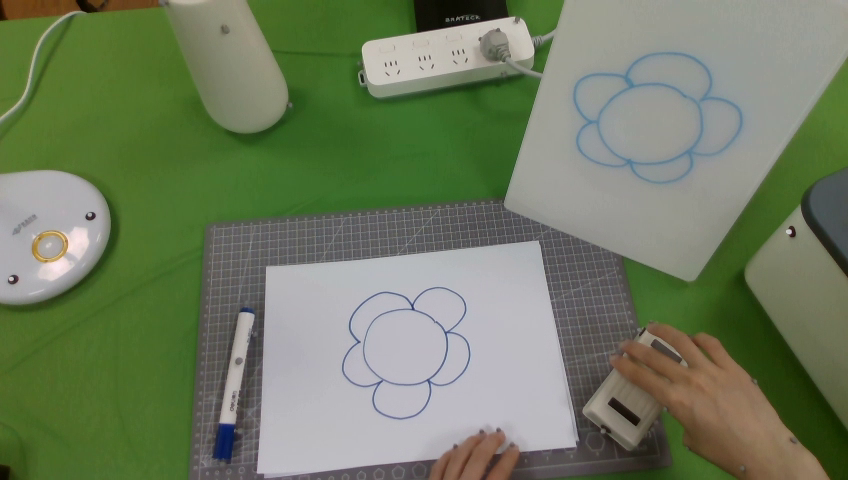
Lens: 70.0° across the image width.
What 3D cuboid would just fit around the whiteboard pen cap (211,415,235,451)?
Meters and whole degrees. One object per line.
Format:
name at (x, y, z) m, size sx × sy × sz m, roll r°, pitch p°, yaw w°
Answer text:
whiteboard pen cap at (-0.190, 0.182, 0.574) m, size 0.018 × 0.018 × 0.033 m, roll 2°, pitch 68°, yaw 2°

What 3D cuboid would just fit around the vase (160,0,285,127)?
vase at (-0.218, -0.210, 0.653) m, size 0.098 × 0.201 × 0.097 m, roll -1°, pitch 65°, yaw 2°

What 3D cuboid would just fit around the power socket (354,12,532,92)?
power socket at (0.025, -0.233, 0.752) m, size 0.227 × 0.033 × 0.071 m, roll -10°, pitch 67°, yaw -4°

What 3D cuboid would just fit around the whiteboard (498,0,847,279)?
whiteboard at (0.229, -0.145, 0.594) m, size 0.216 × 0.308 × 0.143 m, roll 24°, pitch 47°, yaw 12°

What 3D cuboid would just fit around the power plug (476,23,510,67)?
power plug at (0.080, -0.225, 0.723) m, size 0.035 × 0.053 × 0.072 m, roll -1°, pitch 72°, yaw 0°

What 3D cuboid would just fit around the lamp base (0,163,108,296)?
lamp base at (-0.441, -0.051, 0.595) m, size 0.178 × 0.181 × 0.160 m, roll 25°, pitch 68°, yaw 15°

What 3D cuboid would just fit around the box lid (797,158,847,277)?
box lid at (0.495, 0.056, 0.463) m, size 0.263 × 0.015 × 0.368 m, roll -23°, pitch 68°, yaw -8°

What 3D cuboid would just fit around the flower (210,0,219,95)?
flower at (-0.199, -0.238, 0.576) m, size 0.038 × 0.362 × 0.044 m, roll 42°, pitch 63°, yaw 0°

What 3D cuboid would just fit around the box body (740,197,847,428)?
box body at (0.498, 0.089, 0.530) m, size 0.254 × 0.161 × 0.361 m, roll -22°, pitch 67°, yaw -9°

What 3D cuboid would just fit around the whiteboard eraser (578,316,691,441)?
whiteboard eraser at (0.201, 0.131, 0.579) m, size 0.055 × 0.042 × 0.112 m, roll 37°, pitch 72°, yaw 17°

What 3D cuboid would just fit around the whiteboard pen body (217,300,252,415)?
whiteboard pen body at (-0.187, 0.127, 0.595) m, size 0.017 × 0.017 × 0.140 m, roll 2°, pitch 68°, yaw 2°
